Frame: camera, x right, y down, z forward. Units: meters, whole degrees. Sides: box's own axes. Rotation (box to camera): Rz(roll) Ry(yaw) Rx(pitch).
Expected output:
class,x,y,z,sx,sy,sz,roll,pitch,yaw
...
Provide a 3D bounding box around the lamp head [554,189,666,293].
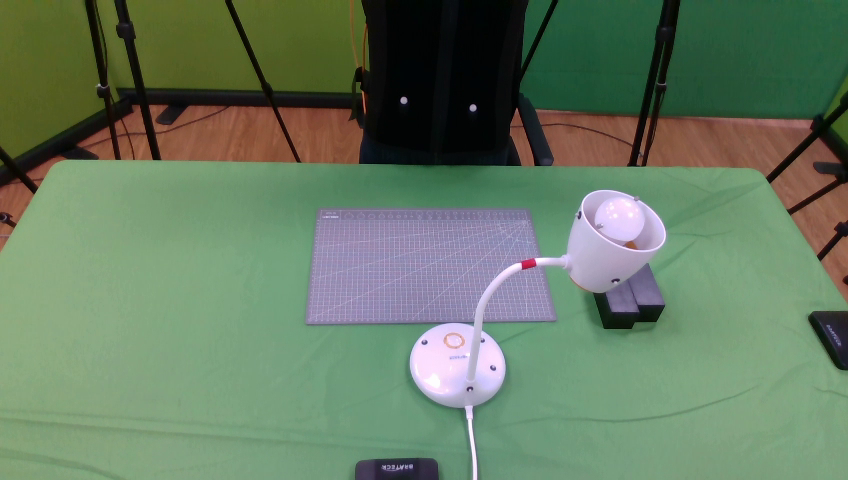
class,x,y,z,sx,sy,sz,roll,pitch,yaw
lamp head,0.234,0.012,0.796,0.113,0.123,0.111,13,43,-13

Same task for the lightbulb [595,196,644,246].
class,x,y,z,sx,sy,sz,roll,pitch,yaw
lightbulb,0.244,-0.008,0.784,0.059,0.108,0.059,8,40,-7

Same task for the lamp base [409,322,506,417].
class,x,y,z,sx,sy,sz,roll,pitch,yaw
lamp base,0.063,0.160,0.941,0.161,0.181,0.178,-10,50,-13
